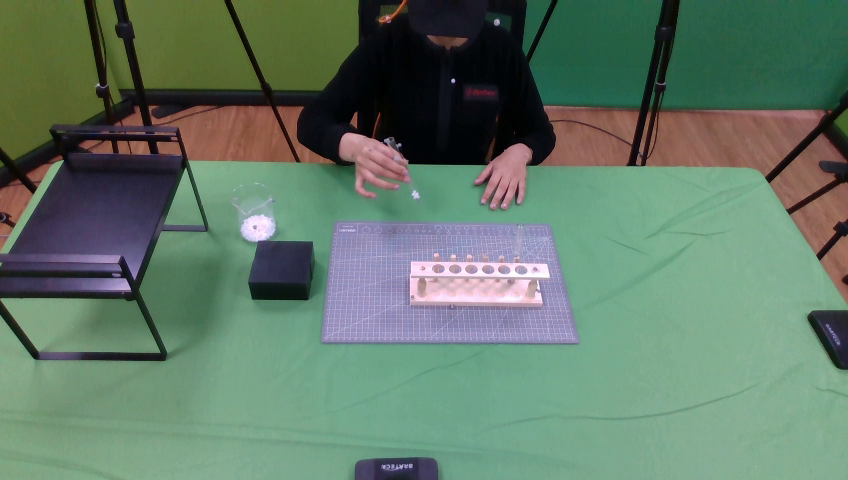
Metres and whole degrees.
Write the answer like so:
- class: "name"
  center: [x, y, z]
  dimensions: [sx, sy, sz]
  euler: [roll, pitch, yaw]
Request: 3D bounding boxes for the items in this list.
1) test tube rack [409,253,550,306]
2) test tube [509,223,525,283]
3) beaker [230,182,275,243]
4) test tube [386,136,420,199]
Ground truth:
- class: "test tube rack"
  center: [0.095, 0.067, 1.093]
  dimensions: [0.242, 0.085, 0.066]
  euler: [1, 47, -3]
- class: "test tube"
  center: [0.165, 0.024, 1.077]
  dimensions: [0.017, 0.151, 0.017]
  euler: [0, 47, 1]
- class: "beaker"
  center: [-0.328, -0.049, 1.166]
  dimensions: [0.074, 0.101, 0.083]
  euler: [2, 47, -2]
- class: "test tube"
  center: [-0.038, -0.134, 1.153]
  dimensions: [0.017, 0.151, 0.017]
  euler: [-14, 42, 13]
